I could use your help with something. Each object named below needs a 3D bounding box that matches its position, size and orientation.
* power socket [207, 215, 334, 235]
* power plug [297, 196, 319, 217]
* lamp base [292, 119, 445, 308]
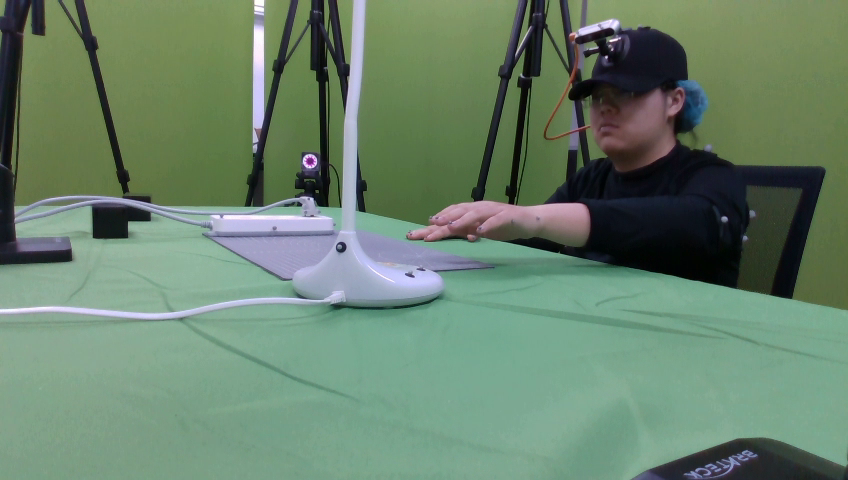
[{"bbox_3d":[-0.270,-0.028,1.082,0.228,0.032,0.072,-1,7,-30],"label":"power socket"},{"bbox_3d":[-0.219,-0.056,1.142,0.035,0.052,0.072,0,6,-18],"label":"power plug"},{"bbox_3d":[-0.056,-0.030,0.616,0.160,0.180,0.179,4,10,8],"label":"lamp base"}]
